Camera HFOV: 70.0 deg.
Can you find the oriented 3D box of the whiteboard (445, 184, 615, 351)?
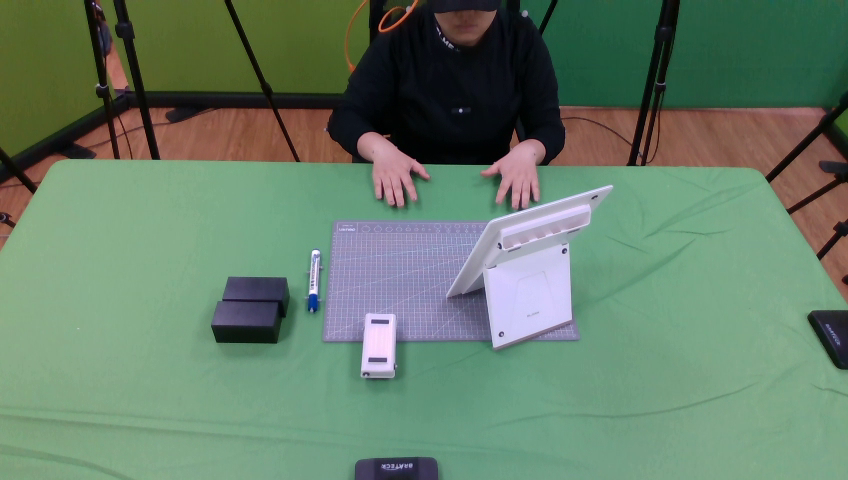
[{"bbox_3d":[0.186,0.065,0.989,0.217,0.306,0.143,-15,68,-18],"label":"whiteboard"}]

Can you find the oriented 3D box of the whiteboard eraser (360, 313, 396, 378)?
[{"bbox_3d":[-0.075,0.176,1.006,0.055,0.042,0.112,3,50,-4],"label":"whiteboard eraser"}]

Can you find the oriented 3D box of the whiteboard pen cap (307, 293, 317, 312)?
[{"bbox_3d":[-0.199,0.110,1.078,0.018,0.018,0.033,-1,48,-5],"label":"whiteboard pen cap"}]

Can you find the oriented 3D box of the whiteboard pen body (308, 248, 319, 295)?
[{"bbox_3d":[-0.204,0.069,1.119,0.017,0.017,0.140,-1,46,-5],"label":"whiteboard pen body"}]
